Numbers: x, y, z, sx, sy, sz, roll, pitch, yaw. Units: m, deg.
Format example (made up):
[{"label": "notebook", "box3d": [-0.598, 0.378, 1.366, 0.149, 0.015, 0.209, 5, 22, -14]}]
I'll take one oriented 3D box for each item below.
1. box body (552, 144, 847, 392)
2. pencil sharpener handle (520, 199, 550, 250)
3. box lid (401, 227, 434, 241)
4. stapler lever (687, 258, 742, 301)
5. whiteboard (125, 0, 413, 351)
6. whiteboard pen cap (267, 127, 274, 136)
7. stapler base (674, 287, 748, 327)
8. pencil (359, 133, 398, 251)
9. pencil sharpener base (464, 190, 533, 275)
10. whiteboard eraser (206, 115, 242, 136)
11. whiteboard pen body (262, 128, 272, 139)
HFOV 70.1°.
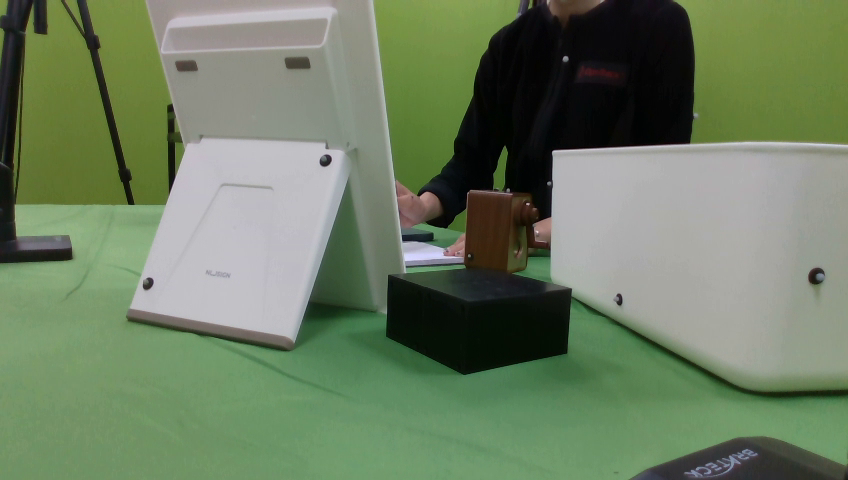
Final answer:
[{"label": "box body", "box3d": [0.290, 0.002, 0.549, 0.255, 0.160, 0.363, 2, 7, -10]}, {"label": "pencil sharpener handle", "box3d": [0.147, -0.019, 0.785, 0.030, 0.068, 0.036, 8, 26, 36]}, {"label": "box lid", "box3d": [-0.196, -0.015, 1.105, 0.373, 0.015, 0.262, -1, 7, -32]}, {"label": "stapler lever", "box3d": [0.283, 0.035, 0.585, 0.026, 0.040, 0.119, 11, 8, 37]}, {"label": "whiteboard", "box3d": [-0.151, -0.050, 0.471, 0.216, 0.305, 0.144, 6, 27, 24]}, {"label": "whiteboard pen cap", "box3d": [-0.340, -0.239, 1.337, 0.018, 0.018, 0.033, 1, -1, -14]}, {"label": "stapler base", "box3d": [0.281, 0.061, 0.586, 0.041, 0.024, 0.131, 11, 9, 37]}, {"label": "pencil", "box3d": [-0.069, -0.075, 0.931, 0.012, 0.193, 0.012, -17, -7, -2]}, {"label": "pencil sharpener base", "box3d": [0.102, -0.012, 0.812, 0.076, 0.107, 0.061, 8, 9, 36]}, {"label": "whiteboard eraser", "box3d": [-0.438, -0.249, 1.320, 0.056, 0.042, 0.112, -3, 9, -30]}, {"label": "whiteboard pen body", "box3d": [-0.361, -0.245, 1.393, 0.017, 0.017, 0.140, 0, 5, -20]}]
